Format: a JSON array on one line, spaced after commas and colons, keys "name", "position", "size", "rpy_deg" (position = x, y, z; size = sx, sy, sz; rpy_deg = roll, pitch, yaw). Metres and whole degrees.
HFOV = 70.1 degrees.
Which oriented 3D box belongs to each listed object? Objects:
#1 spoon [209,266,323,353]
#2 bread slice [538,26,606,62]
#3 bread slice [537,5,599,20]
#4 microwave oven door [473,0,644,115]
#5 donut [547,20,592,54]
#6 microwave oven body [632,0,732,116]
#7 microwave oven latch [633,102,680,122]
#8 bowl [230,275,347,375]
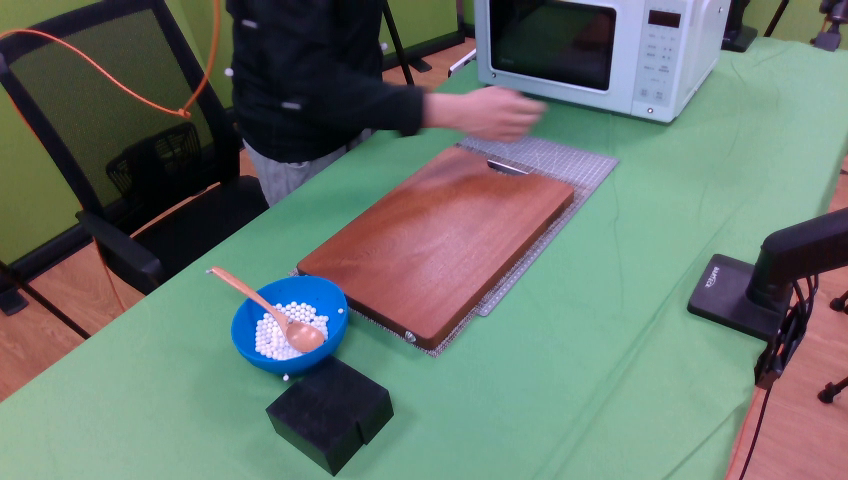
[{"name": "spoon", "position": [-0.213, 0.087, 0.806], "size": [0.193, 0.021, 0.042], "rpy_deg": [37, 57, 11]}, {"name": "bread slice", "position": [0.333, -0.439, 1.338], "size": [0.132, 0.019, 0.104], "rpy_deg": [-37, 43, -21]}, {"name": "bread slice", "position": [0.309, -0.482, 1.278], "size": [0.106, 0.018, 0.135], "rpy_deg": [13, 30, 25]}, {"name": "microwave oven door", "position": [0.257, -0.396, 1.199], "size": [0.353, 0.245, 0.039], "rpy_deg": [21, 48, 29]}, {"name": "donut", "position": [0.312, -0.438, 1.299], "size": [0.099, 0.048, 0.098], "rpy_deg": [-20, 35, 16]}, {"name": "microwave oven body", "position": [0.377, -0.463, 1.267], "size": [0.438, 0.261, 0.327], "rpy_deg": [21, 49, 30]}, {"name": "microwave oven latch", "position": [0.443, -0.250, 1.157], "size": [0.078, 0.029, 0.030], "rpy_deg": [21, 49, 30]}, {"name": "bowl", "position": [-0.171, 0.125, 0.802], "size": [0.151, 0.077, 0.150], "rpy_deg": [-4, 40, 4]}]
